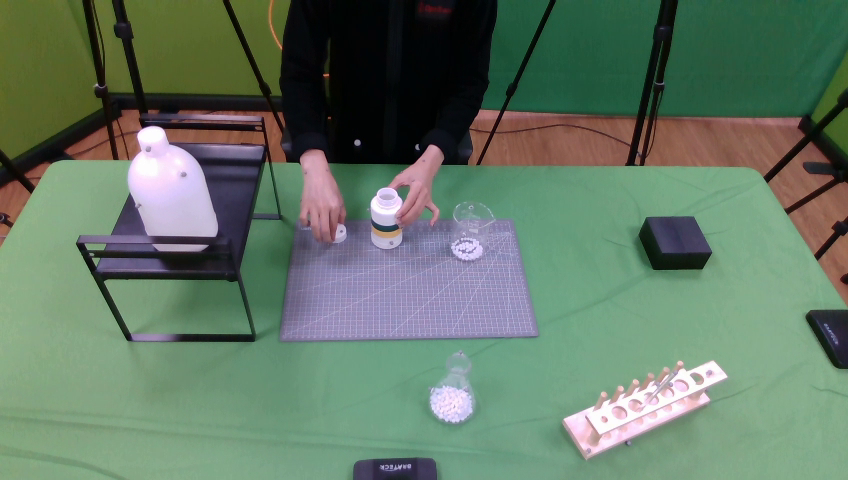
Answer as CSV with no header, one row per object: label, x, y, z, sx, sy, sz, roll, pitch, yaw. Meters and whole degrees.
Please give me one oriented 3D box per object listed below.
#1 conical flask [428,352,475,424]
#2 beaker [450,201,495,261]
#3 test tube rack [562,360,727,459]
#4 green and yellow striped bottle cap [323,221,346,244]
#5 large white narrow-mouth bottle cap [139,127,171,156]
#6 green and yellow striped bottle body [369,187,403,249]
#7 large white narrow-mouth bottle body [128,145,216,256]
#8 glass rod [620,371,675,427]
conical flask,0.046,0.220,0.920,0.075,0.122,0.075,2,46,-2
beaker,0.089,-0.014,1.160,0.084,0.101,0.073,9,47,4
test tube rack,0.341,0.247,0.940,0.243,0.085,0.066,-16,49,-18
green and yellow striped bottle cap,-0.178,-0.016,1.200,0.045,0.020,0.045,2,47,-2
large white narrow-mouth bottle cap,-0.358,-0.132,0.808,0.038,0.024,0.037,3,47,-3
green and yellow striped bottle body,-0.073,-0.045,1.163,0.063,0.120,0.063,2,46,-2
large white narrow-mouth bottle body,-0.366,-0.073,0.872,0.102,0.195,0.101,3,47,-3
glass rod,0.316,0.230,0.863,0.008,0.200,0.008,3,54,-3
